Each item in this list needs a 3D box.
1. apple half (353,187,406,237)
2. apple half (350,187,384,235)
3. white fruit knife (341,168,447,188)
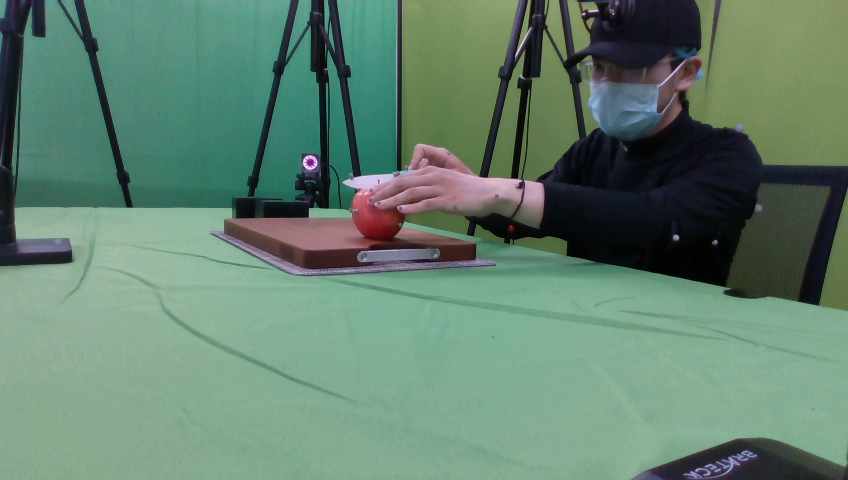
[{"bbox_3d":[-0.057,-0.040,0.884,0.053,0.074,0.081,14,9,43],"label":"apple half"},{"bbox_3d":[-0.086,-0.045,0.910,0.032,0.081,0.082,15,13,42],"label":"apple half"},{"bbox_3d":[-0.041,-0.095,0.923,0.208,0.027,0.016,-10,6,-43],"label":"white fruit knife"}]
